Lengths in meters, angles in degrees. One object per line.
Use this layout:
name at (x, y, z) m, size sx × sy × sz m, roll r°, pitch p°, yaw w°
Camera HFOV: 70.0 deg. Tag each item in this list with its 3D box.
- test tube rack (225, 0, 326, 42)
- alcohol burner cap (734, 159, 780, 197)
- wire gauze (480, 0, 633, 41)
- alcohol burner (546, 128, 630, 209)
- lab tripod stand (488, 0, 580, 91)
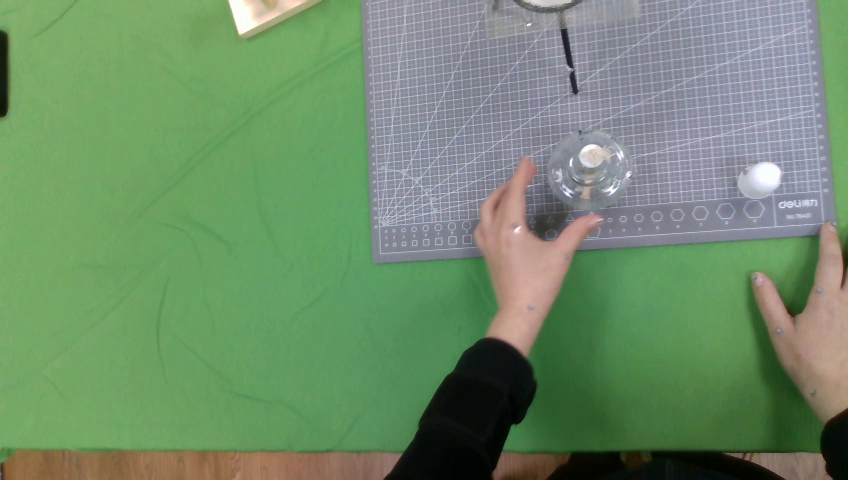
test tube rack at (-0.129, -0.312, 0.662) m, size 0.242 × 0.085 × 0.066 m, roll -22°, pitch 81°, yaw 13°
alcohol burner cap at (0.305, -0.058, 0.552) m, size 0.034 × 0.048 × 0.034 m, roll -1°, pitch 86°, yaw 15°
wire gauze at (0.103, -0.231, 0.499) m, size 0.125 × 0.011 × 0.121 m, roll -5°, pitch 89°, yaw 12°
alcohol burner at (0.151, -0.069, 0.557) m, size 0.078 × 0.119 × 0.078 m, roll -1°, pitch 86°, yaw 13°
lab tripod stand at (0.121, -0.226, 0.563) m, size 0.148 × 0.132 × 0.148 m, roll -1°, pitch 87°, yaw 13°
